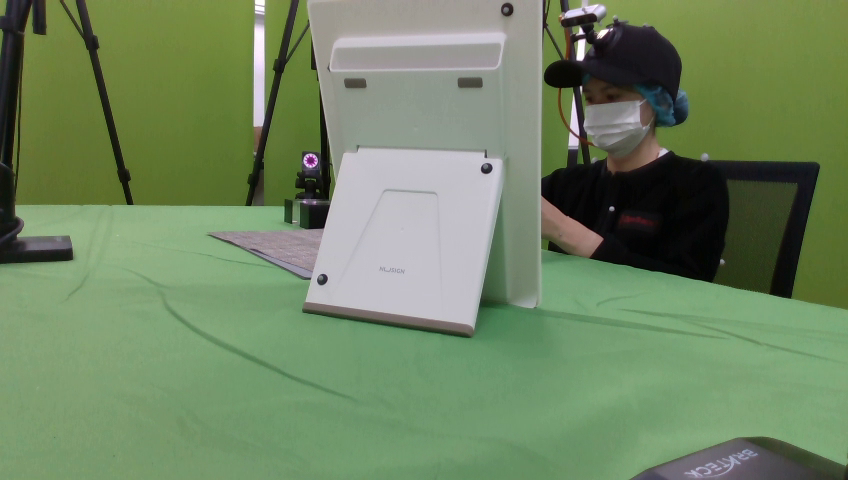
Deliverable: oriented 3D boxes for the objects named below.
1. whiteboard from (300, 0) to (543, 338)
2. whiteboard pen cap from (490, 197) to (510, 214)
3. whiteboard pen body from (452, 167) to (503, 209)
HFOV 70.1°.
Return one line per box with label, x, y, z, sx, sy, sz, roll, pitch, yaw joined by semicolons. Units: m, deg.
whiteboard;-0.020;-0.050;0.523;0.216;0.305;0.144;6;27;22
whiteboard pen cap;0.125;-0.058;0.994;0.018;0.018;0.033;-5;32;-43
whiteboard pen body;0.091;-0.088;1.034;0.017;0.017;0.140;-3;34;-36
